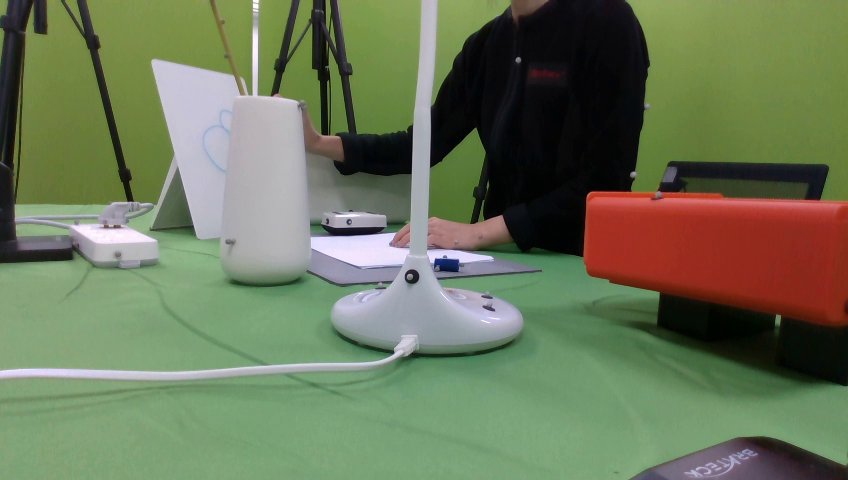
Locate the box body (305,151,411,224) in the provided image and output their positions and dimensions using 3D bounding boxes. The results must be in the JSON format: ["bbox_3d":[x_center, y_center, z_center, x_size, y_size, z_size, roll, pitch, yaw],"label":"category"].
[{"bbox_3d":[-0.230,-0.126,1.371,0.366,0.160,0.253,-2,8,-33],"label":"box body"}]

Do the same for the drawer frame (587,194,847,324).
[{"bbox_3d":[0.285,0.004,0.508,0.203,0.082,0.212,-1,6,-29],"label":"drawer frame"}]

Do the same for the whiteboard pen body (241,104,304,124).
[{"bbox_3d":[-0.277,-0.226,1.092,0.140,0.017,0.017,-7,3,25],"label":"whiteboard pen body"}]

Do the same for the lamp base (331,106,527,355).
[{"bbox_3d":[0.006,-0.012,0.478,0.161,0.180,0.179,2,10,2],"label":"lamp base"}]

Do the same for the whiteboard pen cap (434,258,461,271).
[{"bbox_3d":[0.029,0.031,0.770,0.033,0.018,0.018,4,8,8],"label":"whiteboard pen cap"}]

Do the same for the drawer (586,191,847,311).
[{"bbox_3d":[0.281,0.001,0.513,0.195,0.073,0.210,-1,8,-29],"label":"drawer"}]

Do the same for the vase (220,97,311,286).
[{"bbox_3d":[-0.172,-0.052,0.662,0.098,0.200,0.098,3,9,0],"label":"vase"}]

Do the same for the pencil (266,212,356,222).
[{"bbox_3d":[-0.244,-0.049,1.318,0.195,0.012,0.012,4,7,-12],"label":"pencil"}]

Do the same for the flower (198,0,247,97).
[{"bbox_3d":[-0.187,-0.133,0.648,0.038,0.362,0.044,0,21,43],"label":"flower"}]

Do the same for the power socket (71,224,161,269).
[{"bbox_3d":[-0.408,0.004,0.793,0.072,0.032,0.225,-2,8,-38],"label":"power socket"}]

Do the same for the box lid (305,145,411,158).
[{"bbox_3d":[-0.229,-0.200,1.362,0.373,0.015,0.262,-1,8,-33],"label":"box lid"}]

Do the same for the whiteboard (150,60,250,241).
[{"bbox_3d":[-0.408,-0.139,1.093,0.143,0.305,0.218,-15,-1,26],"label":"whiteboard"}]

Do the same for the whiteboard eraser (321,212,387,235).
[{"bbox_3d":[-0.127,-0.030,1.108,0.113,0.042,0.055,-3,6,-38],"label":"whiteboard eraser"}]

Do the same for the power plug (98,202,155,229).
[{"bbox_3d":[-0.416,-0.027,0.848,0.073,0.052,0.035,0,8,-28],"label":"power plug"}]
